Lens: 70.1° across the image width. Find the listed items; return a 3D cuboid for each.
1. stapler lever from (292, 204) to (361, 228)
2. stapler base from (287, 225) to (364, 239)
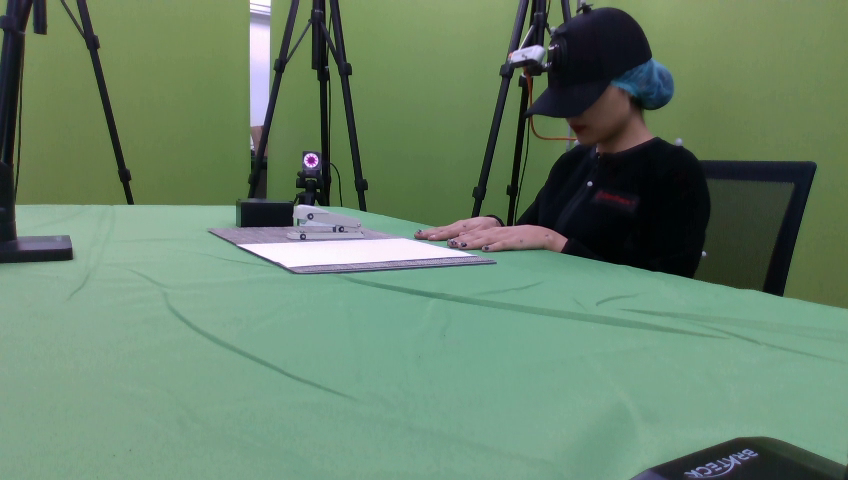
[{"bbox_3d":[-0.166,-0.041,1.037,0.119,0.040,0.026,-1,11,-28],"label":"stapler lever"},{"bbox_3d":[-0.169,-0.016,1.039,0.131,0.024,0.041,0,11,-29],"label":"stapler base"}]
